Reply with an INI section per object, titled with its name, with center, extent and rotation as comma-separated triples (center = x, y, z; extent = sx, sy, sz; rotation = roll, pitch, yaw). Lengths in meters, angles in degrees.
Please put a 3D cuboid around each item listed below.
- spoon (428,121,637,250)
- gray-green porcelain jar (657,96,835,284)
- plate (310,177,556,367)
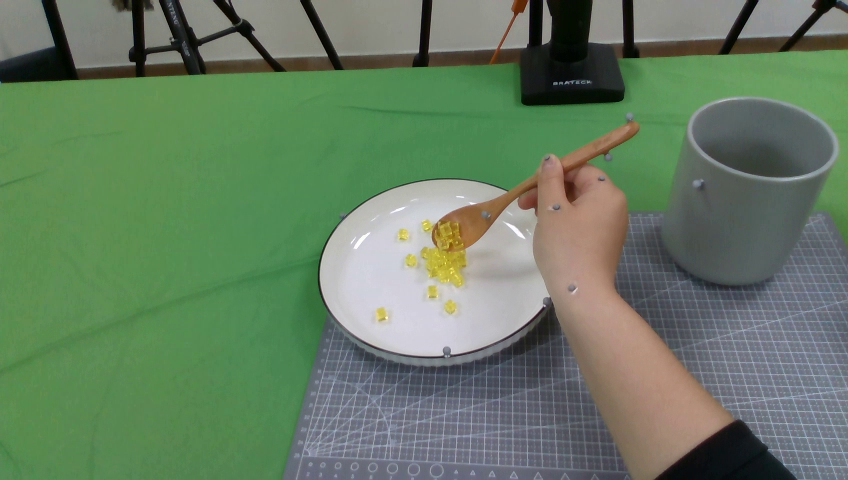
[spoon]
center = 0.081, -0.042, 0.489
extent = 0.193, 0.022, 0.041
rotation = -31, 53, 32
[gray-green porcelain jar]
center = 0.252, -0.035, 0.494
extent = 0.106, 0.128, 0.105
rotation = -3, 46, 4
[plate]
center = 0.008, 0.026, 0.526
extent = 0.207, 0.039, 0.205
rotation = -3, 46, 3
